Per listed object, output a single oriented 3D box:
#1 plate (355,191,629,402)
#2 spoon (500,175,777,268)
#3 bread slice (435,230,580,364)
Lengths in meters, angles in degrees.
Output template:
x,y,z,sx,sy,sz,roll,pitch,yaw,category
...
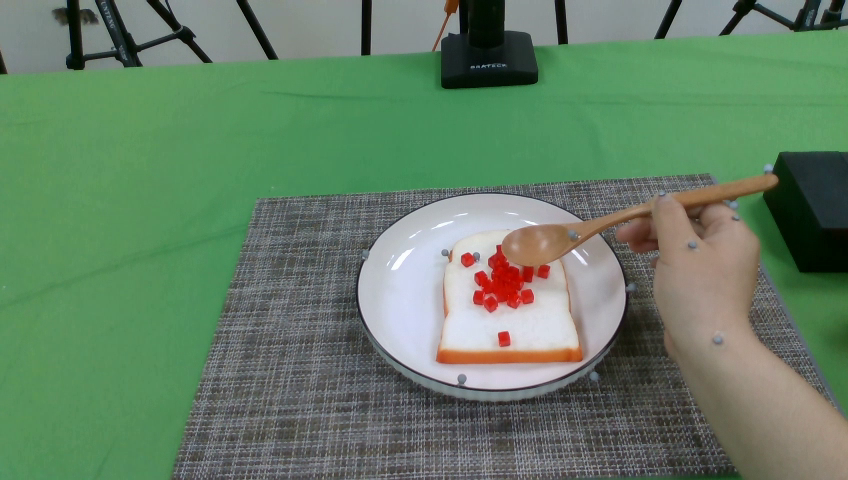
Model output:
x,y,z,sx,sy,sz,roll,pitch,yaw,category
0.051,0.040,0.480,0.209,0.038,0.207,-3,44,3,plate
0.147,-0.015,0.438,0.193,0.022,0.041,-18,42,27,spoon
0.063,0.041,0.481,0.105,0.019,0.130,-1,44,4,bread slice
